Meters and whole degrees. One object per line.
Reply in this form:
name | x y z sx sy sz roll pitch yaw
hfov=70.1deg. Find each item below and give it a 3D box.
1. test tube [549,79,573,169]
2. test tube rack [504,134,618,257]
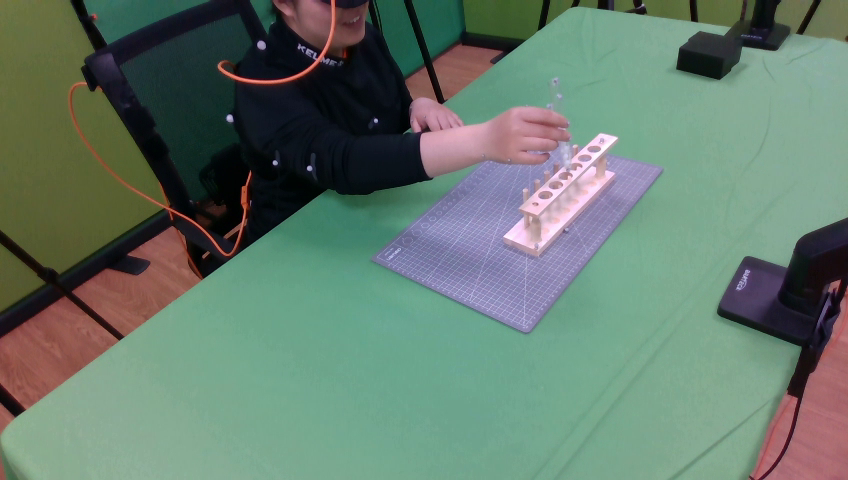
test tube | 0.201 -0.165 0.882 0.017 0.151 0.017 -12 40 11
test tube rack | 0.225 -0.083 0.984 0.066 0.085 0.243 25 51 34
